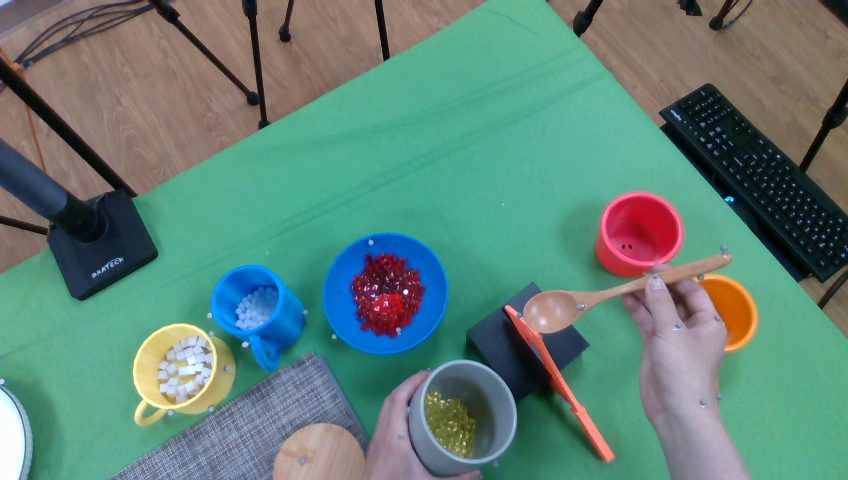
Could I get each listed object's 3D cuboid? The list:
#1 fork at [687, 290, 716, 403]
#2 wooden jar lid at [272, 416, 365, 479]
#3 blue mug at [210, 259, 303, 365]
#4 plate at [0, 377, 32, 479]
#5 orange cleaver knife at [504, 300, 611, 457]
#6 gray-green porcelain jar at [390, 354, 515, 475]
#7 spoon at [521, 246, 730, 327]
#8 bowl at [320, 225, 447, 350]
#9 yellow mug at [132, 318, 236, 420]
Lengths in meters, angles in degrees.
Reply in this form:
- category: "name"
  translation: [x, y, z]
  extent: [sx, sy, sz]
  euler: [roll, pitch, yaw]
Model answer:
- category: "fork"
  translation: [0.312, 0.112, 0.675]
  extent: [0.028, 0.019, 0.206]
  euler: [28, 30, 7]
- category: "wooden jar lid"
  translation: [-0.121, 0.261, 0.707]
  extent: [0.108, 0.021, 0.107]
  euler: [-1, 71, 2]
- category: "blue mug"
  translation: [-0.196, 0.093, 0.730]
  extent: [0.082, 0.106, 0.115]
  euler: [-13, 70, -2]
- category: "plate"
  translation: [-0.568, 0.258, 0.724]
  extent: [0.207, 0.039, 0.206]
  euler: [-1, 70, 2]
- category: "orange cleaver knife"
  translation: [0.153, 0.159, 0.701]
  extent: [0.012, 0.077, 0.212]
  euler: [-33, 102, -7]
- category: "gray-green porcelain jar"
  translation: [0.025, 0.195, 0.661]
  extent: [0.106, 0.127, 0.105]
  euler: [10, 58, -16]
- category: "spoon"
  translation: [0.182, 0.042, 0.562]
  extent: [0.193, 0.022, 0.041]
  euler: [-21, 72, 28]
- category: "bowl"
  translation: [-0.046, 0.067, 0.746]
  extent: [0.151, 0.077, 0.150]
  euler: [-1, 71, 3]
- category: "yellow mug"
  translation: [-0.298, 0.162, 0.731]
  extent: [0.099, 0.064, 0.130]
  euler: [34, 76, 14]
